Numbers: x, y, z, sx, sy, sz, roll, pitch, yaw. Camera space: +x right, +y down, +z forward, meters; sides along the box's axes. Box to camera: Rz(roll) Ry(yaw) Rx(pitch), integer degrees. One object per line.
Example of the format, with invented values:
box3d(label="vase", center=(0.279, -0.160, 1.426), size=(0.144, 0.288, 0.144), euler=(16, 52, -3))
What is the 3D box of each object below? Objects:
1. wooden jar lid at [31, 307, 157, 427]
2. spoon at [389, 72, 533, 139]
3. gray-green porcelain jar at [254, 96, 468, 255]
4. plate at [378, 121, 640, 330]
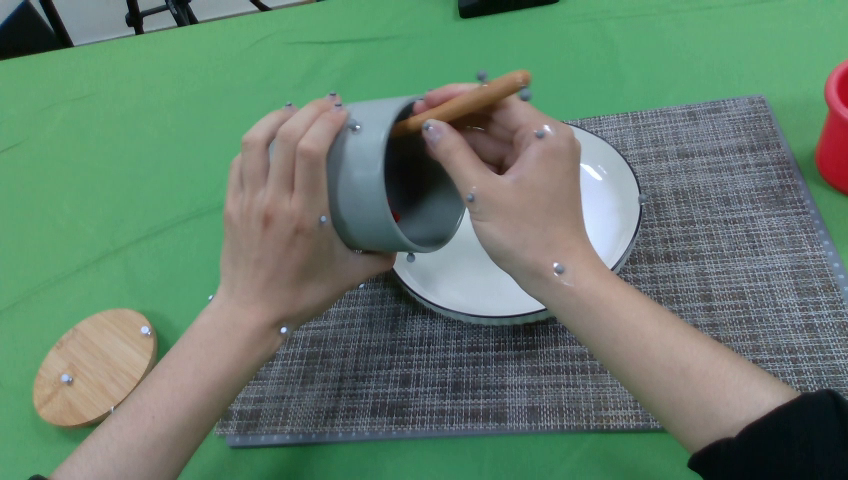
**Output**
box3d(label="wooden jar lid", center=(-0.274, 0.107, 0.510), size=(0.108, 0.021, 0.107), euler=(-7, 52, 9))
box3d(label="spoon", center=(-0.012, -0.073, 0.382), size=(0.193, 0.022, 0.041), euler=(-8, 63, 40))
box3d(label="gray-green porcelain jar", center=(-0.048, -0.045, 0.435), size=(0.126, 0.107, 0.105), euler=(4, 53, 33))
box3d(label="plate", center=(0.065, -0.014, 0.493), size=(0.207, 0.039, 0.205), euler=(-8, 51, 10))
